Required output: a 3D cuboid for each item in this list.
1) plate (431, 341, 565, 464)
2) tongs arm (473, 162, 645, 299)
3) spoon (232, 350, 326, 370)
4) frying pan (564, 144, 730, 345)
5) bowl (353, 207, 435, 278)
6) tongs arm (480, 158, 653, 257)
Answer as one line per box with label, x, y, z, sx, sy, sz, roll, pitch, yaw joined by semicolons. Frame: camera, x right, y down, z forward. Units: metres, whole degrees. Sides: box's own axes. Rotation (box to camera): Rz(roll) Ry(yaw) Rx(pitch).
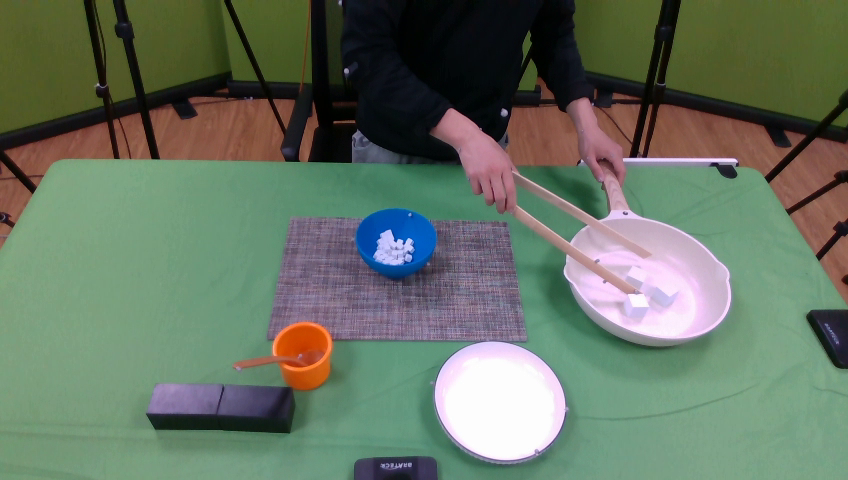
plate;0.114;0.255;0.951;0.208;0.039;0.206;3;46;-2
tongs arm;0.247;-0.013;1.096;0.385;0.026;0.050;32;57;-9
spoon;-0.216;0.182;0.919;0.041;0.194;0.021;43;102;27
frying pan;0.396;-0.008;1.179;0.307;0.103;0.484;0;55;-5
bowl;-0.056;0.018;1.132;0.151;0.077;0.150;2;46;-2
tongs arm;0.268;-0.057;1.129;0.388;0.028;0.028;27;61;-13
